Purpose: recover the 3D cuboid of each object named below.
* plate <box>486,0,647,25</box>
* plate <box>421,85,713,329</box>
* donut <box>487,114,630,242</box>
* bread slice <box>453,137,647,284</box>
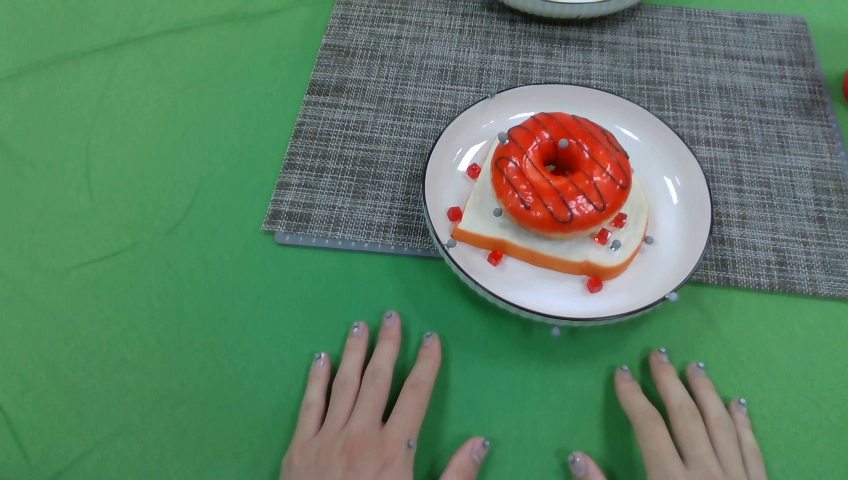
[{"bbox_3d":[0.134,-0.278,0.602,0.208,0.039,0.205,0,57,0],"label":"plate"},{"bbox_3d":[0.102,-0.027,0.451,0.209,0.038,0.207,0,59,0],"label":"plate"},{"bbox_3d":[0.092,-0.043,0.420,0.099,0.048,0.098,0,60,1],"label":"donut"},{"bbox_3d":[0.099,-0.024,0.451,0.131,0.019,0.104,17,61,11],"label":"bread slice"}]
